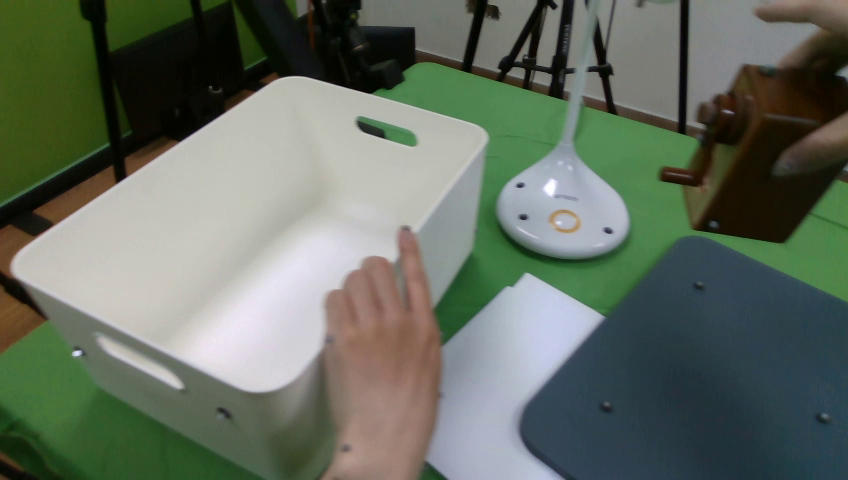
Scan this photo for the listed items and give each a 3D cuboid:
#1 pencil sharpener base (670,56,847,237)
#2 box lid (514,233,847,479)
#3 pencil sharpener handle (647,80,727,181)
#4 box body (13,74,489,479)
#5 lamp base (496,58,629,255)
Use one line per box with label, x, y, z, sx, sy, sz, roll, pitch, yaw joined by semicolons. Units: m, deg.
pencil sharpener base;0.220;-0.060;0.410;0.077;0.108;0.061;7;49;0
box lid;0.284;0.133;0.565;0.261;0.015;0.371;31;49;30
pencil sharpener handle;0.169;-0.071;0.395;0.030;0.068;0.035;7;27;0
box body;-0.123;0.010;0.578;0.253;0.162;0.362;20;45;19
lamp base;0.169;-0.104;0.699;0.161;0.182;0.177;1;40;0
